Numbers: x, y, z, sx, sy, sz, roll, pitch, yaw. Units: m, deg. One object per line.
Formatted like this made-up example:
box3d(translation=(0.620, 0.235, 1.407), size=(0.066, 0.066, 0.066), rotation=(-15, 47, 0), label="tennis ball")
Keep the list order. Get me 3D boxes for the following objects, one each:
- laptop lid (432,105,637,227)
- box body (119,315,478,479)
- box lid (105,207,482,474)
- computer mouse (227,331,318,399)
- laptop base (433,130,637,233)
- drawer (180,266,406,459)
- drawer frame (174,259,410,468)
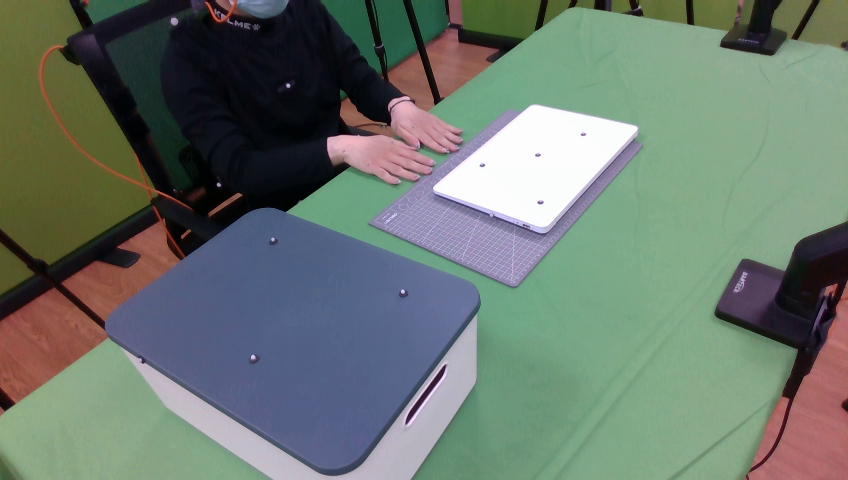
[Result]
box3d(translation=(0.207, -0.152, 1.105), size=(0.239, 0.013, 0.358), rotation=(23, 49, 34), label="laptop lid")
box3d(translation=(-0.140, 0.136, 0.725), size=(0.361, 0.161, 0.254), rotation=(19, 47, 28), label="box body")
box3d(translation=(-0.149, 0.079, 0.677), size=(0.369, 0.015, 0.264), rotation=(20, 46, 28), label="box lid")
box3d(translation=(-0.201, 0.159, 0.804), size=(0.118, 0.041, 0.062), rotation=(-29, 40, -33), label="computer mouse")
box3d(translation=(0.210, -0.142, 1.111), size=(0.233, 0.023, 0.355), rotation=(21, 47, 34), label="laptop base")
box3d(translation=(-0.162, 0.145, 0.771), size=(0.210, 0.073, 0.195), rotation=(22, 46, 32), label="drawer")
box3d(translation=(-0.163, 0.143, 0.768), size=(0.212, 0.083, 0.202), rotation=(24, 50, 29), label="drawer frame")
